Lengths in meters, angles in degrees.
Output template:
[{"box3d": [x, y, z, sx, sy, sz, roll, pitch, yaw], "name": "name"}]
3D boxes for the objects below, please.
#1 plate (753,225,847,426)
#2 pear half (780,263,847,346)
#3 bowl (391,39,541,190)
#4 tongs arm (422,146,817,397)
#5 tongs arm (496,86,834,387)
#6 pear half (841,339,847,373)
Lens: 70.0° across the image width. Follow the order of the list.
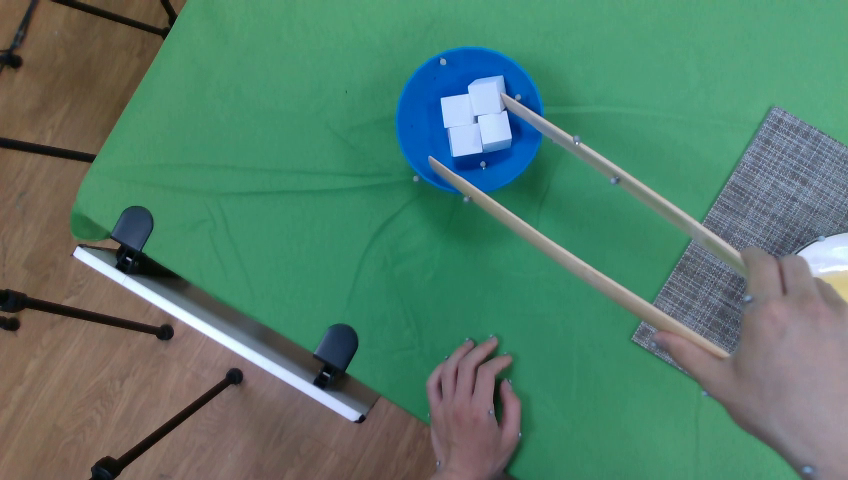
[{"box3d": [0.446, 0.087, 0.631, 0.207, 0.039, 0.207, 0, 88, 3], "name": "plate"}, {"box3d": [0.427, 0.056, 0.619, 0.076, 0.056, 0.110, 42, 86, 0], "name": "pear half"}, {"box3d": [0.043, -0.123, 0.642, 0.151, 0.077, 0.151, 0, 88, 2], "name": "bowl"}, {"box3d": [0.119, 0.004, 0.496, 0.028, 0.028, 0.383, -40, 50, -13], "name": "tongs arm"}, {"box3d": [0.163, -0.032, 0.502, 0.051, 0.027, 0.380, -38, 50, -7], "name": "tongs arm"}, {"box3d": [0.482, 0.119, 0.623, 0.088, 0.031, 0.070, -26, 90, 8], "name": "pear half"}]
